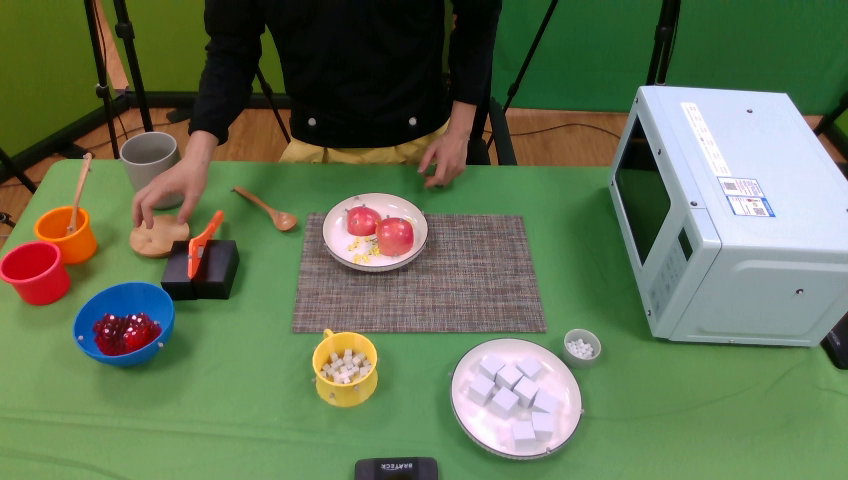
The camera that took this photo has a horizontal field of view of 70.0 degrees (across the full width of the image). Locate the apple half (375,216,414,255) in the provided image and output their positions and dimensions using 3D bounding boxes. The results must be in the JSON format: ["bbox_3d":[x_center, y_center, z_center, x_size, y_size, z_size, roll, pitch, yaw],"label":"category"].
[{"bbox_3d":[-0.056,-0.017,1.169,0.075,0.053,0.080,0,45,-7],"label":"apple half"}]

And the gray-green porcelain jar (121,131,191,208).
[{"bbox_3d":[-0.531,-0.136,1.213,0.106,0.127,0.105,2,47,-2],"label":"gray-green porcelain jar"}]

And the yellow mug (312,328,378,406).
[{"bbox_3d":[-0.132,0.193,0.971,0.100,0.064,0.130,-22,51,-22],"label":"yellow mug"}]

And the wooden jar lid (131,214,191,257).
[{"bbox_3d":[-0.504,-0.007,1.167,0.108,0.021,0.107,3,46,-3],"label":"wooden jar lid"}]

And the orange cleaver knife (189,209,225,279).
[{"bbox_3d":[-0.400,0.002,1.122,0.012,0.077,0.210,0,23,-3],"label":"orange cleaver knife"}]

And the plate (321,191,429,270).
[{"bbox_3d":[-0.094,-0.015,1.185,0.209,0.038,0.208,2,46,-2],"label":"plate"}]

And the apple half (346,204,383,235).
[{"bbox_3d":[-0.119,-0.049,1.207,0.081,0.033,0.081,2,50,-2],"label":"apple half"}]

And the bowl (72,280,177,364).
[{"bbox_3d":[-0.473,0.147,0.982,0.151,0.077,0.150,2,46,-2],"label":"bowl"}]

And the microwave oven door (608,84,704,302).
[{"bbox_3d":[0.424,-0.096,1.138,0.039,0.245,0.353,3,46,-1],"label":"microwave oven door"}]

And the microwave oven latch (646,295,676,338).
[{"bbox_3d":[0.413,0.133,1.061,0.030,0.029,0.078,4,46,1],"label":"microwave oven latch"}]

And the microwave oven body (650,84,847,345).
[{"bbox_3d":[0.569,-0.054,1.116,0.326,0.261,0.439,2,46,-1],"label":"microwave oven body"}]

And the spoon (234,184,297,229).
[{"bbox_3d":[-0.327,-0.074,1.240,0.193,0.022,0.041,33,70,25],"label":"spoon"}]

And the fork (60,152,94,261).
[{"bbox_3d":[-0.638,-0.063,1.119,0.028,0.018,0.207,12,90,7],"label":"fork"}]

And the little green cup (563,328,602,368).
[{"bbox_3d":[0.266,0.185,1.025,0.061,0.039,0.061,1,45,-1],"label":"little green cup"}]

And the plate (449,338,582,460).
[{"bbox_3d":[0.141,0.251,0.956,0.208,0.039,0.206,2,46,-2],"label":"plate"}]
